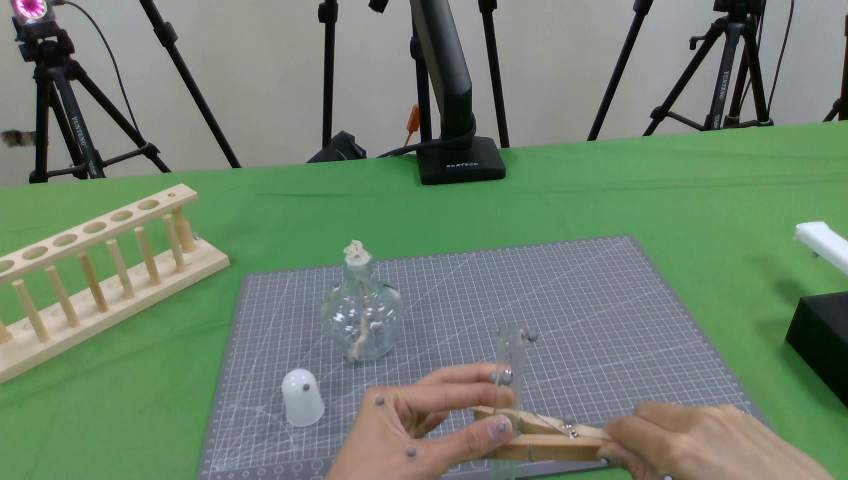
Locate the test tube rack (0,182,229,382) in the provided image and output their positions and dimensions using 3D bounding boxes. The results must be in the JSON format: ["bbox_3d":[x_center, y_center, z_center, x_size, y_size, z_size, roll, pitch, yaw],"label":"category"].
[{"bbox_3d":[-0.332,0.032,0.620,0.066,0.086,0.242,27,44,35],"label":"test tube rack"}]

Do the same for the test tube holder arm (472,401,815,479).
[{"bbox_3d":[0.112,0.113,0.333,0.177,0.015,0.013,6,38,21],"label":"test tube holder arm"}]

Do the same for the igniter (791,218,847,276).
[{"bbox_3d":[0.406,0.054,0.503,0.057,0.025,0.273,-7,31,-4],"label":"igniter"}]

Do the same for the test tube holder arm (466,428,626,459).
[{"bbox_3d":[0.068,0.115,0.342,0.088,0.015,0.010,-5,35,8],"label":"test tube holder arm"}]

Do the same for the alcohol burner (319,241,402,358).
[{"bbox_3d":[-0.058,0.049,0.547,0.078,0.120,0.077,-1,36,1],"label":"alcohol burner"}]

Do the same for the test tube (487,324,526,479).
[{"bbox_3d":[0.046,0.112,0.349,0.017,0.151,0.017,0,29,1],"label":"test tube"}]

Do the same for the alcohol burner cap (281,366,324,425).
[{"bbox_3d":[-0.102,0.125,0.501,0.034,0.048,0.033,-1,34,1],"label":"alcohol burner cap"}]
